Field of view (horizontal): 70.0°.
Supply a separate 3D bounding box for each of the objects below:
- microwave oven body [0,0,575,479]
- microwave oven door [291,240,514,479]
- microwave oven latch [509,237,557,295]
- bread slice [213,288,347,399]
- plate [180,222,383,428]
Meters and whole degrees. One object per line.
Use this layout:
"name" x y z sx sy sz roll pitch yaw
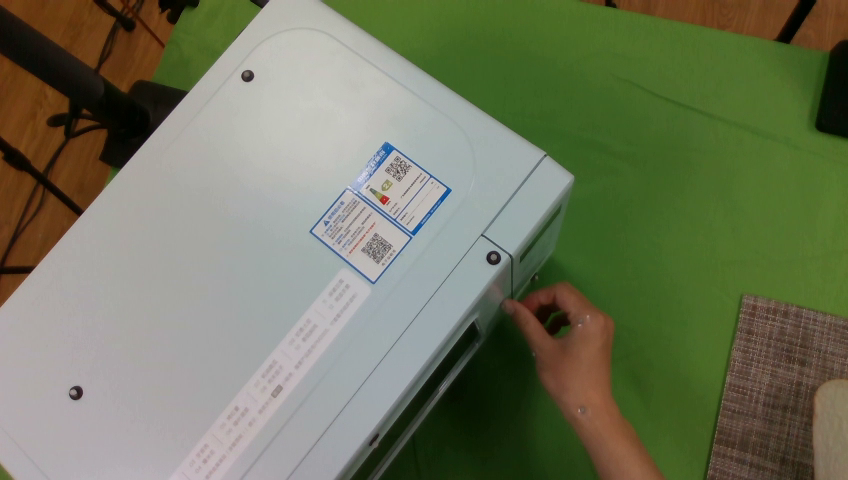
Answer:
"microwave oven body" -0.128 0.050 0.579 0.324 0.261 0.441 37 85 14
"microwave oven door" -0.042 0.166 0.533 0.039 0.245 0.355 37 84 16
"microwave oven latch" 0.110 0.022 0.653 0.030 0.029 0.079 40 85 14
"bread slice" -0.148 0.113 0.624 0.134 0.018 0.106 -9 76 -2
"plate" -0.143 0.086 0.626 0.207 0.039 0.206 -1 77 4
